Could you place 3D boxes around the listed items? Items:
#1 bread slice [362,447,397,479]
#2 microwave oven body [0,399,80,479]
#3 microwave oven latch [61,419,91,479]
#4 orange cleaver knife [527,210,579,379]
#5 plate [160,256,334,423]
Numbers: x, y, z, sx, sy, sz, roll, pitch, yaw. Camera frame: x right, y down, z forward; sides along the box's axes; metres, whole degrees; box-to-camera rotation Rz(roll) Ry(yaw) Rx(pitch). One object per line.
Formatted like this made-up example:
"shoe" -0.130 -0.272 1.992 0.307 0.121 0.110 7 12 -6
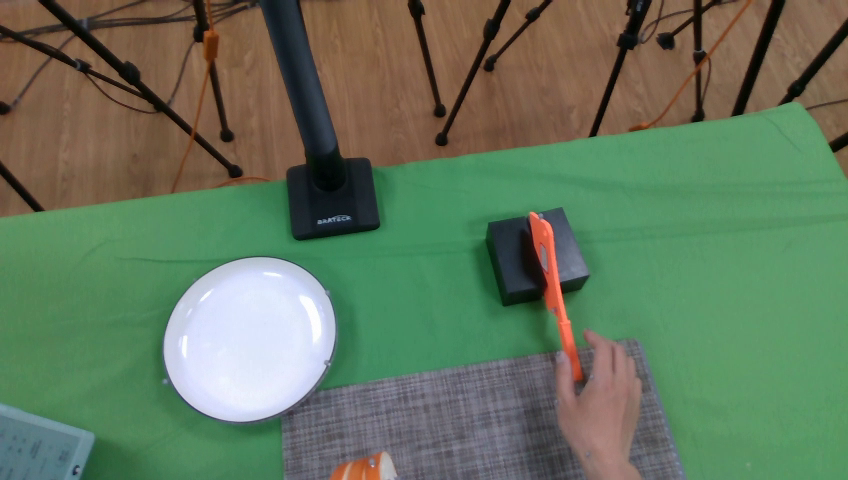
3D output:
"bread slice" -0.033 0.279 0.610 0.018 0.107 0.134 -18 91 0
"microwave oven body" -0.577 0.329 0.517 0.326 0.262 0.438 11 66 3
"microwave oven latch" -0.398 0.241 0.668 0.030 0.030 0.078 12 66 4
"orange cleaver knife" 0.158 0.066 0.750 0.012 0.077 0.211 -13 96 -7
"plate" -0.213 0.121 0.746 0.208 0.039 0.206 1 65 -1
